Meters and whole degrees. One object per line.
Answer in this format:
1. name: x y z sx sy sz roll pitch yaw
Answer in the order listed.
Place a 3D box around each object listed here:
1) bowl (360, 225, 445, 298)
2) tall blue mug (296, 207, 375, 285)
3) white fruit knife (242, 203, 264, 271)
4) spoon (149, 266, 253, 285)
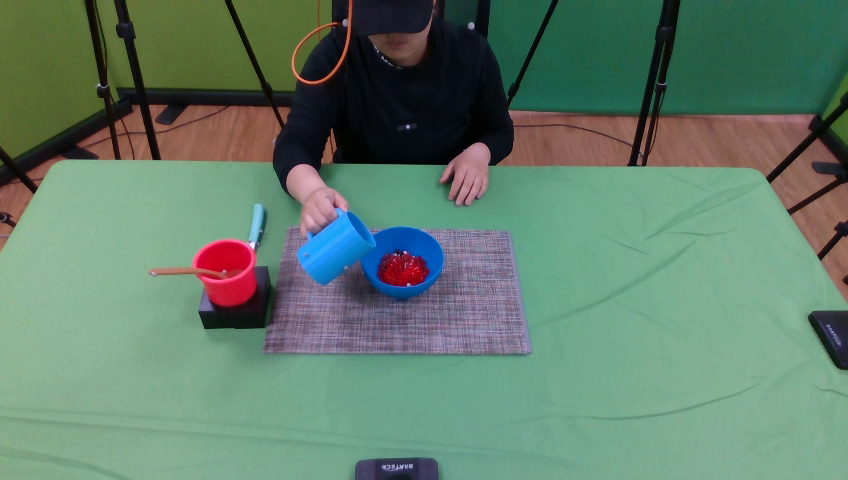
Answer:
1. bowl: -0.040 0.053 1.099 0.151 0.077 0.150 2 46 -2
2. tall blue mug: -0.154 0.000 0.999 0.108 0.078 0.107 -38 83 11
3. white fruit knife: -0.334 0.001 1.179 0.027 0.016 0.206 -18 46 16
4. spoon: -0.351 0.052 0.968 0.041 0.021 0.194 41 12 28
